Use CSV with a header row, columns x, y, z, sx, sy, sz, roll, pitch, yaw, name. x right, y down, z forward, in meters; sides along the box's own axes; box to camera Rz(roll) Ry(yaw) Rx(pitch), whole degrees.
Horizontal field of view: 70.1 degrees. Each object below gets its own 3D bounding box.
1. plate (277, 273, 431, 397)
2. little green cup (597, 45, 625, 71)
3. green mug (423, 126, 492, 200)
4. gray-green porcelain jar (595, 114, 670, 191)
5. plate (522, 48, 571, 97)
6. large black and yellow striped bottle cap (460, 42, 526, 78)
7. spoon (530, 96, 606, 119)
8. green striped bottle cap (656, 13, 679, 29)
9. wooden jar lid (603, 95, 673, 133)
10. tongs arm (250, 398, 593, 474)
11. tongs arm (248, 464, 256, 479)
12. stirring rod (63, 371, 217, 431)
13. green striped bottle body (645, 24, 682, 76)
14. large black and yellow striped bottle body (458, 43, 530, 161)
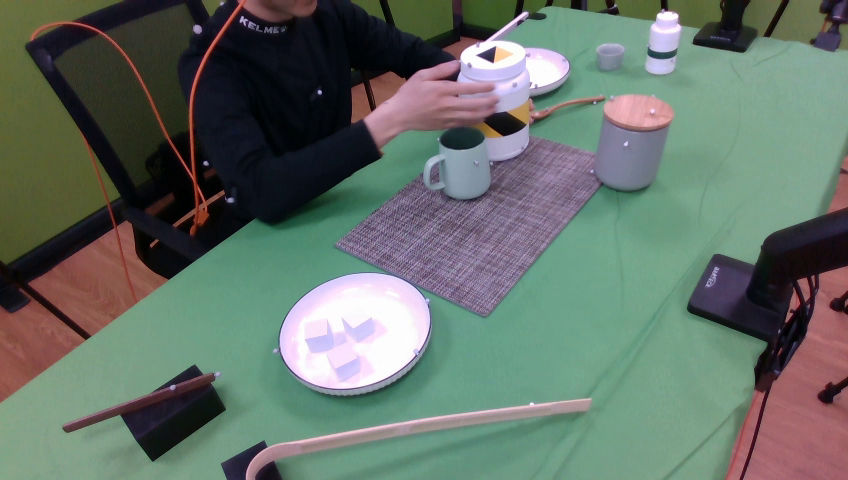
x,y,z,sx,sy,sz,roll,pitch,yaw,name
-0.091,0.129,0.820,0.207,0.039,0.206,-4,40,4,plate
0.423,-0.413,1.375,0.061,0.039,0.061,-3,41,3,little green cup
0.055,-0.125,1.039,0.126,0.105,0.091,-26,44,-20,green mug
0.346,-0.154,1.017,0.106,0.127,0.105,-2,44,2,gray-green porcelain jar
0.223,-0.371,1.357,0.209,0.038,0.208,-4,41,4,plate
0.121,-0.318,1.063,0.115,0.019,0.114,-3,42,3,large black and yellow striped bottle cap
0.291,-0.277,1.249,0.194,0.022,0.041,-17,27,-11,spoon
0.515,-0.463,1.278,0.044,0.020,0.044,-5,42,5,green striped bottle cap
0.343,-0.200,0.973,0.108,0.021,0.108,-1,39,2,wooden jar lid
0.008,0.212,0.674,0.389,0.028,0.028,-5,46,-11,tongs arm
0.012,0.262,0.614,0.385,0.026,0.050,3,42,-2,tongs arm
-0.337,0.192,0.723,0.177,0.014,0.005,-18,43,-12,stirring rod
0.520,-0.424,1.312,0.063,0.120,0.063,-4,41,4,green striped bottle body
0.130,-0.255,1.116,0.131,0.185,0.130,-4,41,4,large black and yellow striped bottle body
